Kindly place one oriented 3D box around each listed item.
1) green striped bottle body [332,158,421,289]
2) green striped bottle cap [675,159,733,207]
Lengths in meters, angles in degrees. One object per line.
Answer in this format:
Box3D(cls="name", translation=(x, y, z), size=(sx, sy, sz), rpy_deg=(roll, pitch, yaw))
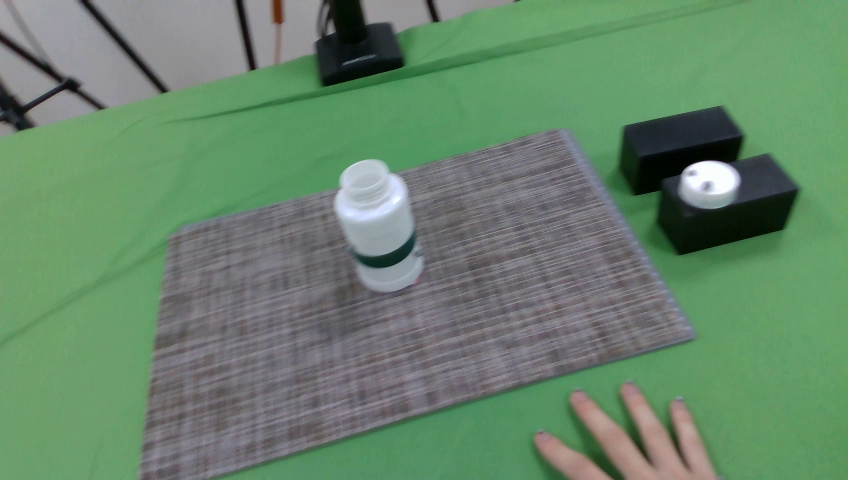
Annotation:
Box3D(cls="green striped bottle body", translation=(-0.042, -0.015, 0.541), size=(0.063, 0.120, 0.062), rpy_deg=(-6, 47, 7))
Box3D(cls="green striped bottle cap", translation=(0.240, -0.050, 0.520), size=(0.044, 0.020, 0.044), rpy_deg=(-5, 47, 5))
